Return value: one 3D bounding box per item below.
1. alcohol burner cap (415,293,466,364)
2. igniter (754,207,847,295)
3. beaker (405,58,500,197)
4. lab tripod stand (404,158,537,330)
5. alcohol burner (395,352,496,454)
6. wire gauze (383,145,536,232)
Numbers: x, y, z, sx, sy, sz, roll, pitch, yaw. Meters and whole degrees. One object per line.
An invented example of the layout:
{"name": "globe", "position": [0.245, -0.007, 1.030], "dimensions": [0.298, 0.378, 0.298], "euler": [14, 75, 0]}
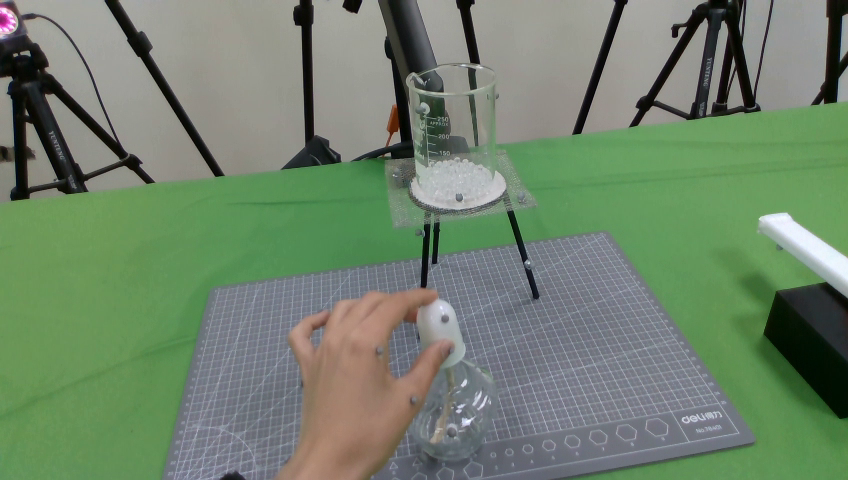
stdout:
{"name": "alcohol burner cap", "position": [0.010, 0.058, 0.422], "dimensions": [0.034, 0.048, 0.033], "euler": [-8, 33, 6]}
{"name": "igniter", "position": [0.362, 0.045, 0.486], "dimensions": [0.057, 0.025, 0.273], "euler": [-9, 31, -5]}
{"name": "beaker", "position": [0.022, -0.094, 0.513], "dimensions": [0.074, 0.101, 0.083], "euler": [-29, 41, -32]}
{"name": "lab tripod stand", "position": [0.036, -0.002, 0.580], "dimensions": [0.148, 0.132, 0.147], "euler": [-2, 33, 2]}
{"name": "alcohol burner", "position": [0.015, 0.102, 0.450], "dimensions": [0.078, 0.120, 0.077], "euler": [-3, 37, 2]}
{"name": "wire gauze", "position": [0.026, -0.054, 0.540], "dimensions": [0.121, 0.011, 0.123], "euler": [-8, 37, -3]}
